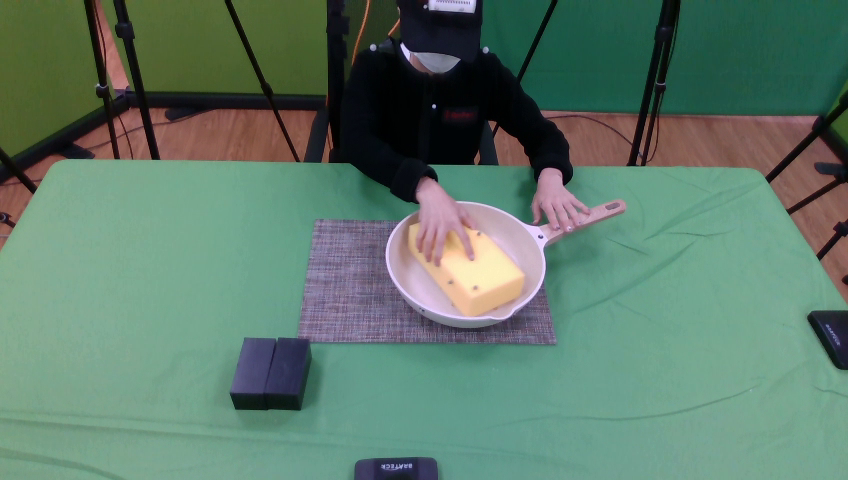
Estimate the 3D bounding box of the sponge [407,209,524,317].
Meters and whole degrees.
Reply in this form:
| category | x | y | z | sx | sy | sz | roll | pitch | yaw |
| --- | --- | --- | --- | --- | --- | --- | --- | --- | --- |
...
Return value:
| category | x | y | z | sx | sy | sz | roll | pitch | yaw |
| --- | --- | --- | --- | --- | --- | --- | --- | --- | --- |
| sponge | 0.071 | 0.040 | 1.118 | 0.118 | 0.061 | 0.205 | -22 | 50 | -26 |

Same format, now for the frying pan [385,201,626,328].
| category | x | y | z | sx | sy | sz | roll | pitch | yaw |
| --- | --- | --- | --- | --- | --- | --- | --- | --- | --- |
| frying pan | 0.169 | 0.014 | 1.138 | 0.488 | 0.103 | 0.304 | -19 | 51 | -11 |
